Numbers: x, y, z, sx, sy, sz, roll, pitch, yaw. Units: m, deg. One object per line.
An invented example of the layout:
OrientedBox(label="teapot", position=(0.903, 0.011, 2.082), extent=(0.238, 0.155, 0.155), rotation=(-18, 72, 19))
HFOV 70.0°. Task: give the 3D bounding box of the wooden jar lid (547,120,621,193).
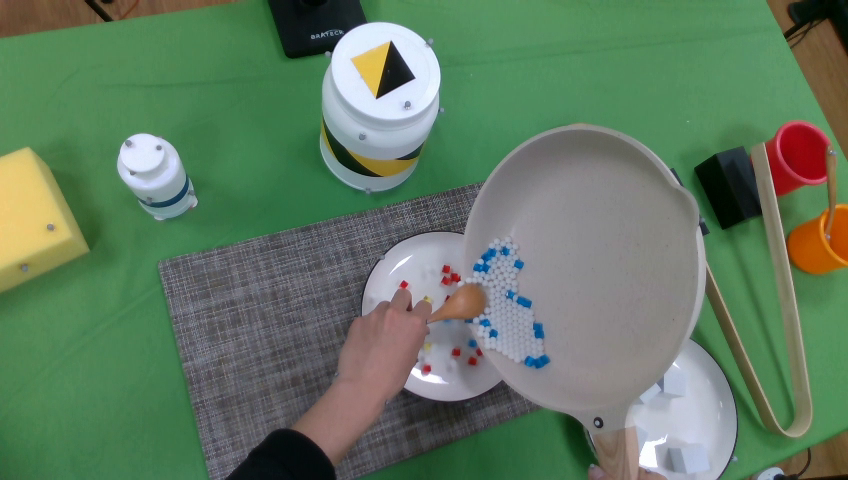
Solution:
OrientedBox(label="wooden jar lid", position=(0.222, -0.115, 0.848), extent=(0.109, 0.021, 0.108), rotation=(3, 75, -11))

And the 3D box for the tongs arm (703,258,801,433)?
OrientedBox(label="tongs arm", position=(0.396, 0.076, 0.791), extent=(0.051, 0.026, 0.384), rotation=(-21, 89, -19))

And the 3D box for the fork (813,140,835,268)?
OrientedBox(label="fork", position=(0.549, -0.045, 0.826), extent=(0.028, 0.018, 0.209), rotation=(-28, 126, -10))

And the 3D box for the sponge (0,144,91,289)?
OrientedBox(label="sponge", position=(-0.491, -0.001, 0.645), extent=(0.207, 0.061, 0.118), rotation=(-29, 82, -18))

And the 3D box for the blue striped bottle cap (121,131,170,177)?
OrientedBox(label="blue striped bottle cap", position=(-0.288, -0.089, 0.626), extent=(0.045, 0.021, 0.044), rotation=(3, 71, -8))

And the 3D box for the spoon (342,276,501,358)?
OrientedBox(label="spoon", position=(0.001, 0.086, 0.662), extent=(0.194, 0.021, 0.042), rotation=(-21, 122, -12))

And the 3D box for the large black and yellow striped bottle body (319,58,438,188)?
OrientedBox(label="large black and yellow striped bottle body", position=(-0.056, -0.152, 0.714), extent=(0.131, 0.184, 0.130), rotation=(3, 73, -10))

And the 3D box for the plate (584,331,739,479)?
OrientedBox(label="plate", position=(0.291, 0.208, 0.762), extent=(0.208, 0.039, 0.206), rotation=(3, 73, -10))

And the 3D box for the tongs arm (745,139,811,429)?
OrientedBox(label="tongs arm", position=(0.474, 0.055, 0.815), extent=(0.028, 0.027, 0.386), rotation=(-6, 85, -21))

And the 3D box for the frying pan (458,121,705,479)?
OrientedBox(label="frying pan", position=(0.167, 0.121, 0.597), extent=(0.103, 0.306, 0.484), rotation=(13, 61, -36))

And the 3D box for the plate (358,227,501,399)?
OrientedBox(label="plate", position=(0.023, 0.087, 0.736), extent=(0.210, 0.038, 0.208), rotation=(3, 74, -11))

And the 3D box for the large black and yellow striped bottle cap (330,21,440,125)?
OrientedBox(label="large black and yellow striped bottle cap", position=(-0.040, -0.175, 0.633), extent=(0.115, 0.019, 0.114), rotation=(3, 73, -10))

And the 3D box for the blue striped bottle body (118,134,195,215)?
OrientedBox(label="blue striped bottle body", position=(-0.298, -0.076, 0.675), extent=(0.063, 0.121, 0.062), rotation=(3, 73, -11))

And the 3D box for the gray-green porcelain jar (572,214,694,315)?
OrientedBox(label="gray-green porcelain jar", position=(0.252, 0.036, 0.755), extent=(0.106, 0.127, 0.105), rotation=(3, 74, -10))
